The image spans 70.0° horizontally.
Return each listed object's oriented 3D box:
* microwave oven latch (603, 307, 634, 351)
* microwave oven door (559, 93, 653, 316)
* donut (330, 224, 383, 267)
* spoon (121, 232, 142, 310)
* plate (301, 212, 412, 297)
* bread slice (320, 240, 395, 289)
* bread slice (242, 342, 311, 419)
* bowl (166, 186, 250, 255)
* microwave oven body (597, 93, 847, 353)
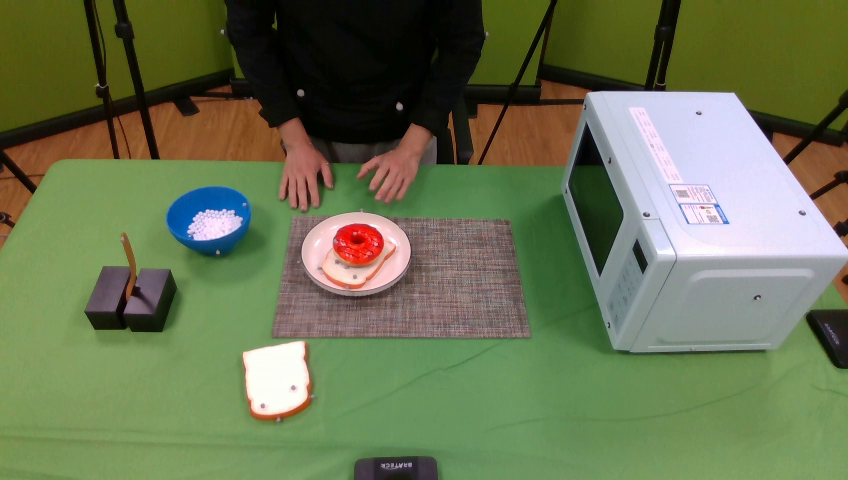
[{"bbox_3d":[0.332,0.153,1.044,0.030,0.029,0.078,0,45,-4],"label":"microwave oven latch"},{"bbox_3d":[0.327,-0.074,1.123,0.039,0.245,0.353,0,46,-5],"label":"microwave oven door"},{"bbox_3d":[-0.125,0.010,1.127,0.099,0.048,0.098,3,45,-3],"label":"donut"},{"bbox_3d":[-0.479,0.051,0.993,0.022,0.194,0.041,13,46,-11],"label":"spoon"},{"bbox_3d":[-0.126,0.031,1.145,0.208,0.039,0.206,2,45,-2],"label":"plate"},{"bbox_3d":[-0.129,0.037,1.141,0.107,0.018,0.134,19,47,14],"label":"bread slice"},{"bbox_3d":[-0.234,0.223,0.970,0.105,0.019,0.130,-10,46,-12],"label":"bread slice"},{"bbox_3d":[-0.403,-0.024,1.154,0.151,0.077,0.150,2,46,-2],"label":"bowl"},{"bbox_3d":[0.475,-0.041,1.109,0.326,0.261,0.438,-1,45,-4],"label":"microwave oven body"}]
